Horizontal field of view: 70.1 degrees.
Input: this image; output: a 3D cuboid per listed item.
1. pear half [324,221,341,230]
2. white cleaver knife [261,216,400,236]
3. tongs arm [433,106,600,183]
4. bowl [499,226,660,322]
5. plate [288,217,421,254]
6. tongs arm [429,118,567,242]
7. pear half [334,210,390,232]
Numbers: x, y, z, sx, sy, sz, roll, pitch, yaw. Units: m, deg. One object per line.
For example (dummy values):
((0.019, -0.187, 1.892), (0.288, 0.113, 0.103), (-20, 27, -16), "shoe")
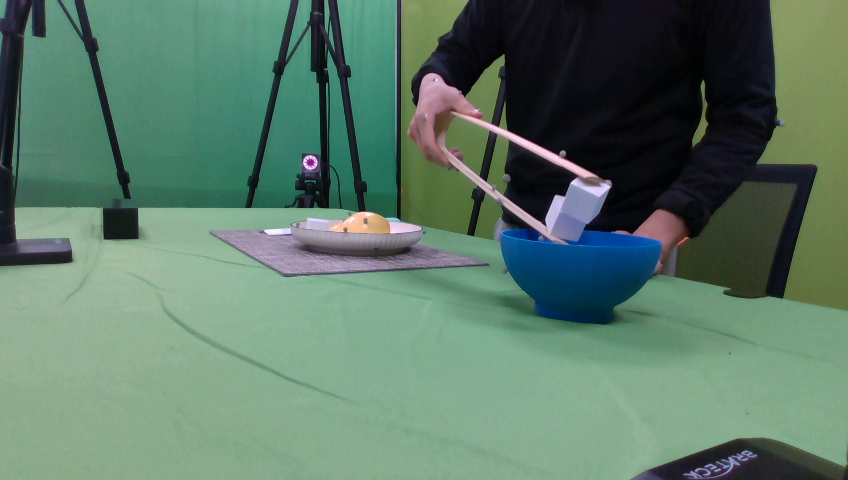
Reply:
((-0.126, -0.019, 1.001), (0.088, 0.031, 0.070), (8, 4, 1), "pear half")
((-0.169, -0.021, 1.156), (0.288, 0.021, 0.065), (-7, 20, -33), "white cleaver knife")
((0.093, -0.124, 0.739), (0.028, 0.028, 0.386), (9, 17, -24), "tongs arm")
((0.145, 0.032, 0.584), (0.151, 0.077, 0.151), (2, 7, 0), "bowl")
((-0.109, -0.007, 0.956), (0.208, 0.039, 0.207), (2, 7, 0), "plate")
((0.079, -0.088, 0.750), (0.026, 0.050, 0.383), (13, 17, -25), "tongs arm")
((-0.107, -0.016, 0.920), (0.110, 0.056, 0.076), (-4, 5, -20), "pear half")
